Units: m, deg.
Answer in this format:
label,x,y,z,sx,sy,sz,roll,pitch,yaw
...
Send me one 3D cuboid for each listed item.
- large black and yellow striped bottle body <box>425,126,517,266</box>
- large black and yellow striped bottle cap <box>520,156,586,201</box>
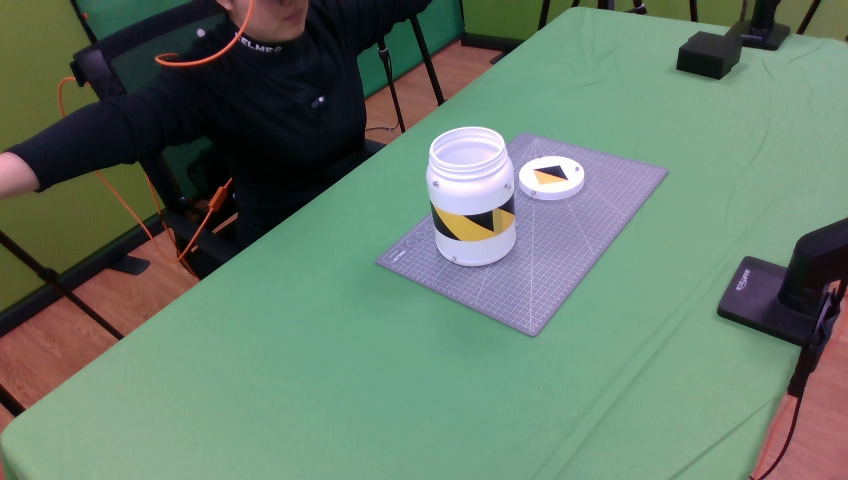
label,x,y,z,sx,sy,sz,roll,pitch,yaw
large black and yellow striped bottle body,0.072,-0.066,0.917,0.131,0.185,0.130,-5,40,5
large black and yellow striped bottle cap,0.228,-0.111,1.072,0.115,0.019,0.114,-6,40,6
